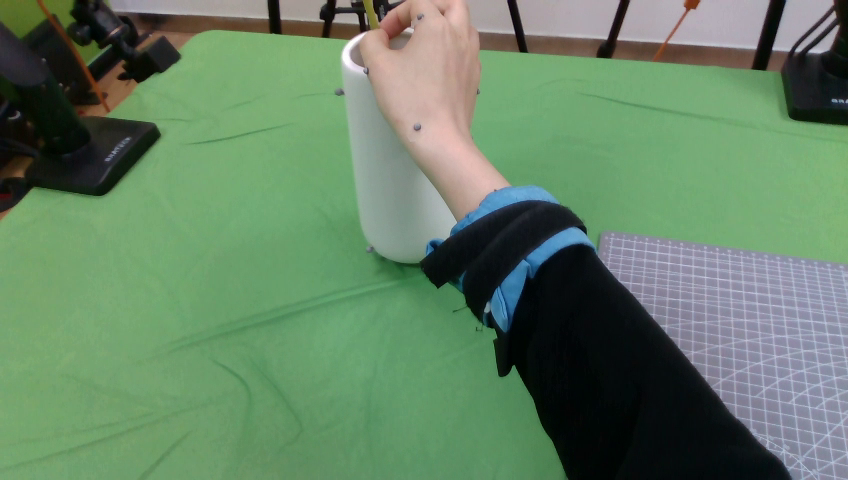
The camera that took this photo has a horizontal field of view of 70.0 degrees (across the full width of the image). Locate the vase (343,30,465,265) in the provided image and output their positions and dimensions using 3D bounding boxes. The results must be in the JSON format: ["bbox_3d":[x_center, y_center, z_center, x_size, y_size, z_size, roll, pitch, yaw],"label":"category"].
[{"bbox_3d":[-0.016,-0.071,0.518,0.098,0.202,0.097,-3,45,3],"label":"vase"}]

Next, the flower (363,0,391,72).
[{"bbox_3d":[-0.030,-0.129,0.457,0.038,0.365,0.043,-10,39,8],"label":"flower"}]
